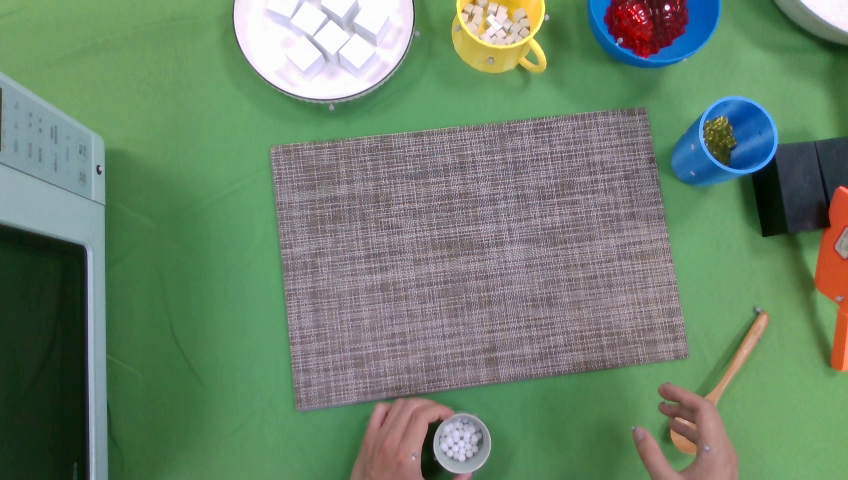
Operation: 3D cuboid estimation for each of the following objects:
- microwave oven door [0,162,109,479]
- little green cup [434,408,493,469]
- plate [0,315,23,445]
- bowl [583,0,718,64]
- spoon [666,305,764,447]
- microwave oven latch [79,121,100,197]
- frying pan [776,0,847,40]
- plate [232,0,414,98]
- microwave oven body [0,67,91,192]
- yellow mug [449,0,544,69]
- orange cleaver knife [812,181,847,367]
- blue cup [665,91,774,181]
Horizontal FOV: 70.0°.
[{"bbox_3d":[-0.352,0.118,0.532,0.039,0.244,0.354,-4,83,-3],"label":"microwave oven door"},{"bbox_3d":[0.040,0.210,0.650,0.062,0.038,0.061,1,86,-10],"label":"little green cup"},{"bbox_3d":[-0.488,0.139,0.580,0.209,0.038,0.208,0,85,-4],"label":"plate"},{"bbox_3d":[0.251,-0.268,0.707,0.151,0.077,0.151,0,84,-3],"label":"bowl"},{"bbox_3d":[0.338,0.152,0.691,0.041,0.022,0.193,37,83,13],"label":"spoon"},{"bbox_3d":[-0.369,-0.087,0.656,0.030,0.029,0.079,-2,84,-3],"label":"microwave oven latch"},{"bbox_3d":[0.535,-0.273,0.708,0.307,0.103,0.485,-2,75,-2],"label":"frying pan"},{"bbox_3d":[-0.115,-0.263,0.708,0.208,0.039,0.207,0,83,-3],"label":"plate"},{"bbox_3d":[-0.501,0.085,0.533,0.326,0.260,0.440,-4,84,-4],"label":"microwave oven body"},{"bbox_3d":[0.092,-0.249,0.703,0.100,0.064,0.131,-44,88,-6],"label":"yellow mug"},{"bbox_3d":[0.465,0.041,0.680,0.012,0.076,0.212,-8,112,-3],"label":"orange cleaver knife"},{"bbox_3d":[0.321,-0.108,0.680,0.093,0.100,0.092,1,81,-4],"label":"blue cup"}]
